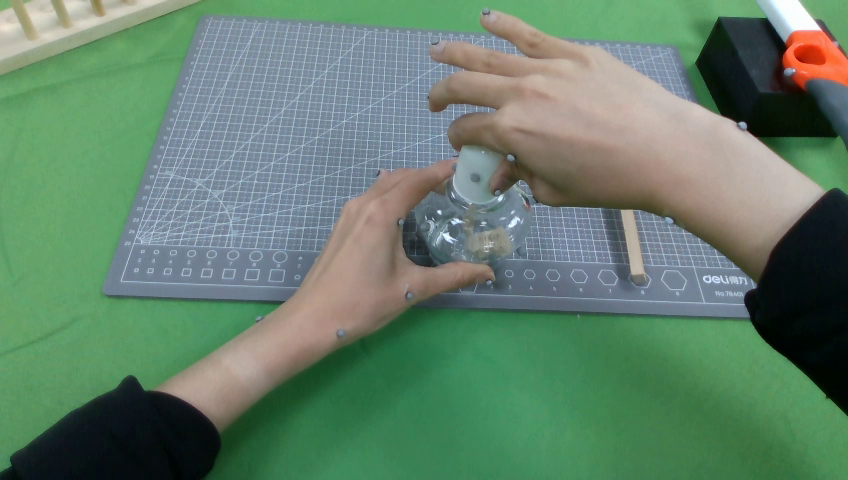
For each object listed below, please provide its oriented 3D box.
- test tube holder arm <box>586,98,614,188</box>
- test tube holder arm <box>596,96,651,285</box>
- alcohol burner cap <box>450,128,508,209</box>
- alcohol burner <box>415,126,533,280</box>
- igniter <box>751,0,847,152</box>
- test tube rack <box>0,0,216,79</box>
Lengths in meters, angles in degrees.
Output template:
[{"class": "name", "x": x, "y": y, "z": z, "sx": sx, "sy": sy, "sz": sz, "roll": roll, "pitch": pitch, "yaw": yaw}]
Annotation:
[{"class": "test tube holder arm", "x": 0.145, "y": -0.080, "z": 0.495, "sx": 0.010, "sy": 0.015, "sz": 0.087, "roll": -19, "pitch": 52, "yaw": 24}, {"class": "test tube holder arm", "x": 0.151, "y": -0.045, "z": 0.467, "sx": 0.013, "sy": 0.015, "sz": 0.176, "roll": -19, "pitch": 52, "yaw": 23}, {"class": "alcohol burner cap", "x": 0.034, "y": -0.045, "z": 0.360, "sx": 0.034, "sy": 0.048, "sz": 0.033, "roll": 2, "pitch": 55, "yaw": -3}, {"class": "alcohol burner", "x": 0.034, "y": -0.027, "z": 0.385, "sx": 0.078, "sy": 0.120, "sz": 0.077, "roll": 3, "pitch": 55, "yaw": -3}, {"class": "igniter", "x": 0.319, "y": -0.160, "z": 0.506, "sx": 0.057, "sy": 0.025, "sz": 0.273, "roll": -1, "pitch": 52, "yaw": -3}, {"class": "test tube rack", "x": -0.284, "y": -0.233, "z": 0.524, "sx": 0.242, "sy": 0.086, "sz": 0.066, "roll": -33, "pitch": 64, "yaw": -25}]
